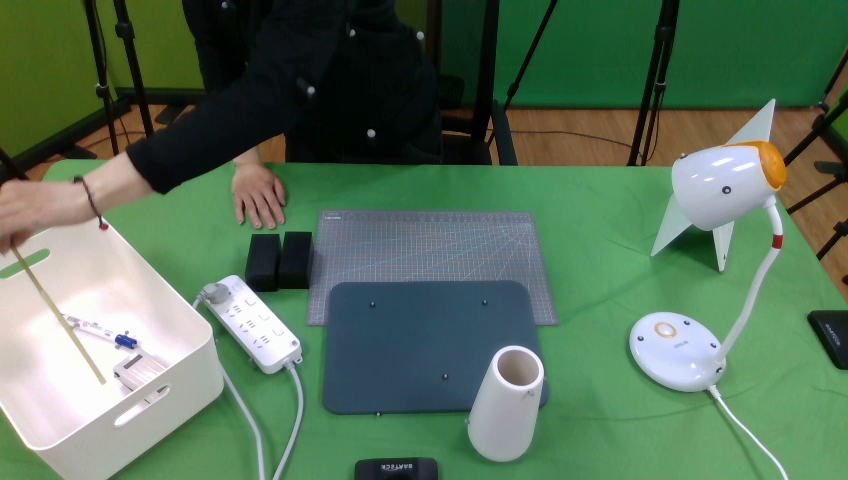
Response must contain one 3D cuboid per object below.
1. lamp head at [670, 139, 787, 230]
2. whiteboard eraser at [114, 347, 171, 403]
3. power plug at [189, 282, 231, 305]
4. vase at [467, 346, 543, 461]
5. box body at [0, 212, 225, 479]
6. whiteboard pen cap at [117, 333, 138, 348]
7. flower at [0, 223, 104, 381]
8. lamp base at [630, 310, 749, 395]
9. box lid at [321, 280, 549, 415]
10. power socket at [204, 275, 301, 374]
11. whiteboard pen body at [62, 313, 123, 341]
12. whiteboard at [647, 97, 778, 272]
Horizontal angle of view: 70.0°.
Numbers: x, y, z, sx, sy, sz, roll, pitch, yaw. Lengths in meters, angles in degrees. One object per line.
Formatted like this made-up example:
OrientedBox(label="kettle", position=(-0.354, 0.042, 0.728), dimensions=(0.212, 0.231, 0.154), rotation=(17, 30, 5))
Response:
OrientedBox(label="lamp head", position=(0.415, -0.078, 0.811), dimensions=(0.113, 0.123, 0.112), rotation=(12, 70, -37))
OrientedBox(label="whiteboard eraser", position=(-0.420, 0.215, 0.936), dimensions=(0.112, 0.042, 0.055), rotation=(25, 48, 22))
OrientedBox(label="power plug", position=(-0.368, 0.097, 1.039), dimensions=(0.072, 0.053, 0.035), rotation=(-26, 54, -21))
OrientedBox(label="vase", position=(0.116, 0.235, 0.860), dimensions=(0.098, 0.201, 0.097), rotation=(1, 47, -1))
OrientedBox(label="box body", position=(-0.506, 0.155, 0.916), dimensions=(0.362, 0.161, 0.254), rotation=(35, 54, 26))
OrientedBox(label="whiteboard pen cap", position=(-0.489, 0.165, 0.997), dimensions=(0.033, 0.018, 0.018), rotation=(17, 48, 10))
OrientedBox(label="flower", position=(-0.512, 0.034, 0.781), dimensions=(0.361, 0.038, 0.044), rotation=(52, 23, 9))
OrientedBox(label="lamp base", position=(0.447, 0.143, 0.984), dimensions=(0.161, 0.181, 0.178), rotation=(-24, 55, -24))
OrientedBox(label="box lid", position=(0.013, 0.174, 1.040), dimensions=(0.372, 0.015, 0.261), rotation=(0, 47, -4))
OrientedBox(label="power socket", position=(-0.296, 0.140, 1.035), dimensions=(0.072, 0.033, 0.225), rotation=(-33, 57, -29))
OrientedBox(label="whiteboard pen body", position=(-0.544, 0.148, 1.009), dimensions=(0.140, 0.017, 0.017), rotation=(17, 47, 9))
OrientedBox(label="whiteboard", position=(0.602, -0.079, 1.162), dimensions=(0.144, 0.306, 0.216), rotation=(35, 51, 2))
